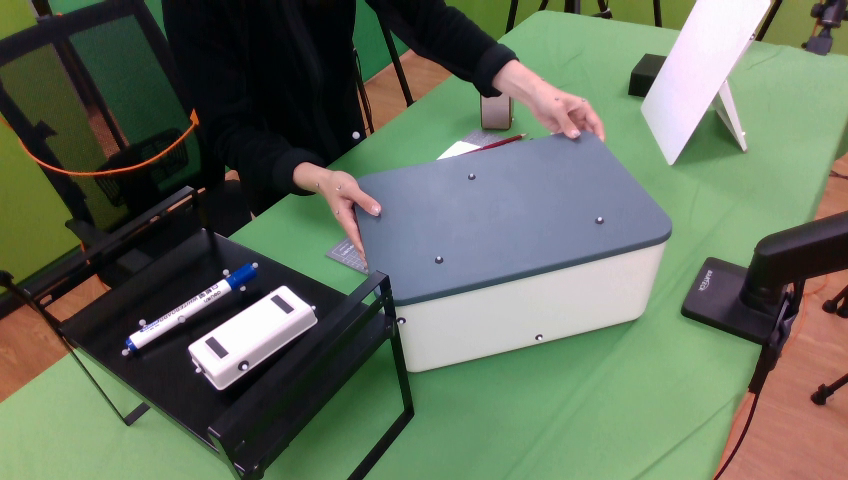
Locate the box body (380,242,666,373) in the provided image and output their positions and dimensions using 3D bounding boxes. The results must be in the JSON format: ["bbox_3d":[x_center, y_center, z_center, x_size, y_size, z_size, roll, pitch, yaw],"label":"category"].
[{"bbox_3d":[0.105,0.013,0.834,0.365,0.161,0.252,-13,41,-7],"label":"box body"}]

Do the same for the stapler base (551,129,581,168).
[{"bbox_3d":[0.268,-0.178,1.142,0.041,0.024,0.130,0,37,3],"label":"stapler base"}]

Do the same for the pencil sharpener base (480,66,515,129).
[{"bbox_3d":[0.151,-0.290,1.228,0.061,0.107,0.076,3,41,13],"label":"pencil sharpener base"}]

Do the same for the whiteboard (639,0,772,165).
[{"bbox_3d":[0.543,-0.298,1.076,0.144,0.305,0.216,12,40,-7],"label":"whiteboard"}]

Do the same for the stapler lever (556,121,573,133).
[{"bbox_3d":[0.266,-0.198,1.128,0.027,0.040,0.117,0,38,3],"label":"stapler lever"}]

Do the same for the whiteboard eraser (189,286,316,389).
[{"bbox_3d":[-0.166,0.096,0.593,0.113,0.042,0.055,-36,47,-29],"label":"whiteboard eraser"}]

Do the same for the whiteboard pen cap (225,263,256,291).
[{"bbox_3d":[-0.204,0.041,0.668,0.033,0.018,0.018,-36,48,-22],"label":"whiteboard pen cap"}]

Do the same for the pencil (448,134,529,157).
[{"bbox_3d":[0.123,-0.180,1.176,0.195,0.012,0.012,-20,42,-17],"label":"pencil"}]

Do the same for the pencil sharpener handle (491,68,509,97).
[{"bbox_3d":[0.156,-0.333,1.258,0.036,0.068,0.030,14,43,3],"label":"pencil sharpener handle"}]

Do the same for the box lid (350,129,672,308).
[{"bbox_3d":[0.099,-0.043,0.785,0.372,0.015,0.261,-13,41,-6],"label":"box lid"}]

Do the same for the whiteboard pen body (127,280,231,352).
[{"bbox_3d":[-0.248,0.072,0.645,0.141,0.017,0.017,-35,47,-23],"label":"whiteboard pen body"}]
